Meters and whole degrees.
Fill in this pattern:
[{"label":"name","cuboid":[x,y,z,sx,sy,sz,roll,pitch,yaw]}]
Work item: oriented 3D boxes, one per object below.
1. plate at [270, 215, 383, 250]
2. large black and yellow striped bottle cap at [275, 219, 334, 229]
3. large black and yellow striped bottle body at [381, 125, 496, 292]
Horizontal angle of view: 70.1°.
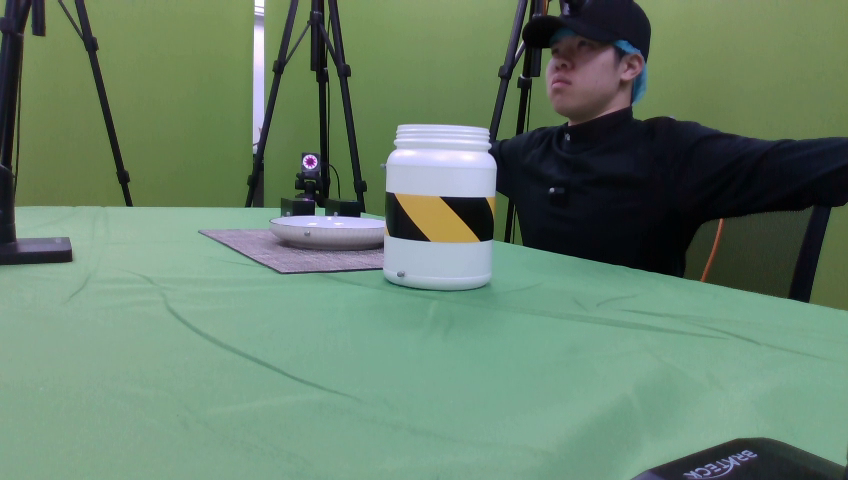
[{"label":"plate","cuboid":[-0.145,-0.013,0.992,0.208,0.039,0.207,2,7,0]},{"label":"large black and yellow striped bottle cap","cuboid":[-0.236,-0.033,1.197,0.115,0.019,0.115,2,3,0]},{"label":"large black and yellow striped bottle body","cuboid":[0.018,-0.040,0.715,0.131,0.184,0.130,3,7,0]}]
